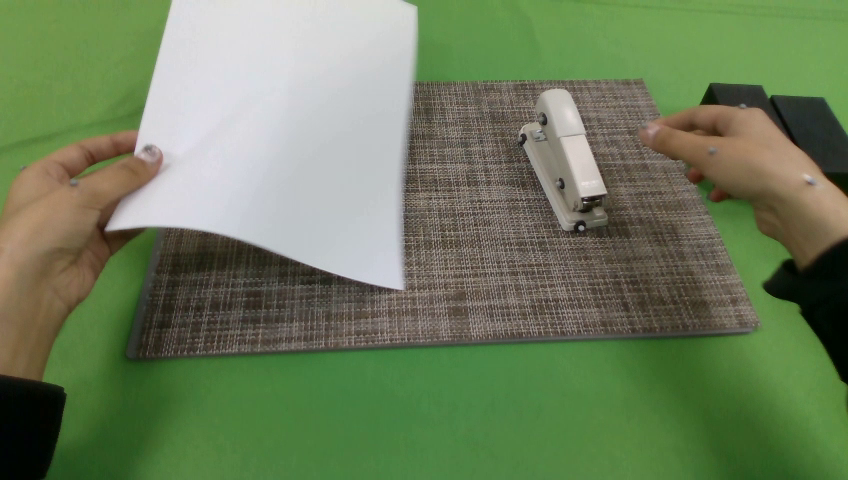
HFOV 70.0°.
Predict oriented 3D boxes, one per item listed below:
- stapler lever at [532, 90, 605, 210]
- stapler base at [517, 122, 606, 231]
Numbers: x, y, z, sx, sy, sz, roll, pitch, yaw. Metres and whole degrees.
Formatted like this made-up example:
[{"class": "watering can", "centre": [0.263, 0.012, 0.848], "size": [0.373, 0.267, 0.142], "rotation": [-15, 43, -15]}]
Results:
[{"class": "stapler lever", "centre": [0.122, -0.080, 0.514], "size": [0.027, 0.040, 0.117], "rotation": [-11, 54, -8]}, {"class": "stapler base", "centre": [0.120, -0.065, 0.535], "size": [0.041, 0.024, 0.129], "rotation": [-10, 54, -8]}]
